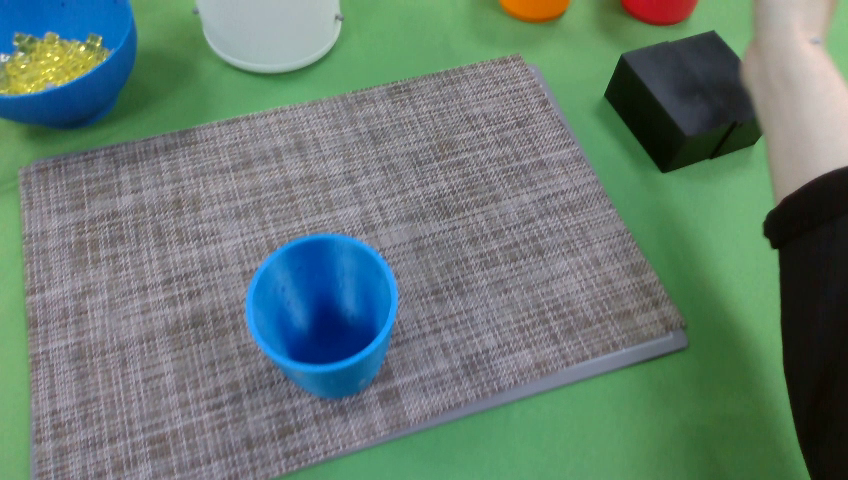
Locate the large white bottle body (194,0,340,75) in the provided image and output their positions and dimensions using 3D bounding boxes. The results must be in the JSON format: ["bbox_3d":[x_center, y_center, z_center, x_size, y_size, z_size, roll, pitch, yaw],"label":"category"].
[{"bbox_3d":[-0.142,-0.250,0.513,0.131,0.186,0.129,2,59,-3],"label":"large white bottle body"}]

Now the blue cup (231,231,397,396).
[{"bbox_3d":[-0.059,0.056,0.384,0.093,0.101,0.092,1,61,-2],"label":"blue cup"}]

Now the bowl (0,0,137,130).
[{"bbox_3d":[-0.307,-0.145,0.503,0.151,0.077,0.150,2,59,-3],"label":"bowl"}]
